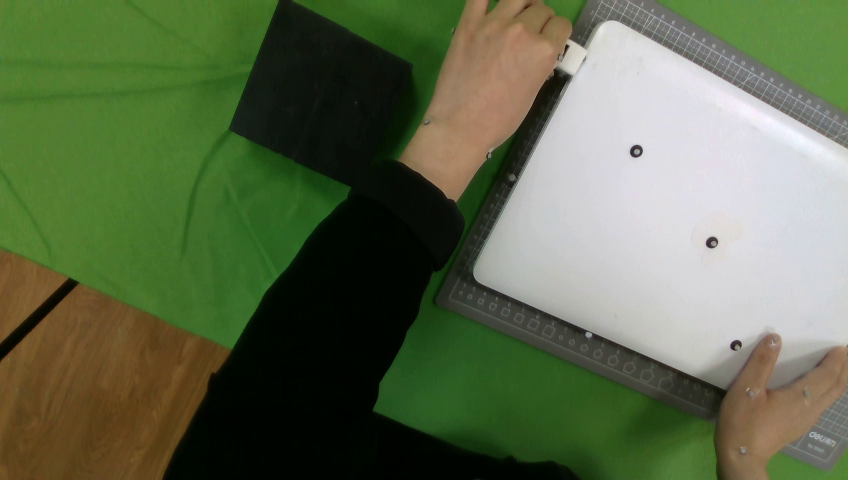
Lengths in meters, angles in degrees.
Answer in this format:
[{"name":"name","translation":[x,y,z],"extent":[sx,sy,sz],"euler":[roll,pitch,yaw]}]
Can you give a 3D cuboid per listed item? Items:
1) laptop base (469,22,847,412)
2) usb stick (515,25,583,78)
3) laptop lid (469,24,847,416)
[{"name":"laptop base","translation":[0.242,-0.003,0.531],"extent":[0.356,0.023,0.236],"euler":[24,107,-11]},{"name":"usb stick","translation":[0.102,-0.141,0.465],"extent":[0.059,0.027,0.021],"euler":[24,100,-18]},{"name":"laptop lid","translation":[0.242,0.003,0.521],"extent":[0.358,0.013,0.242],"euler":[25,105,-11]}]
